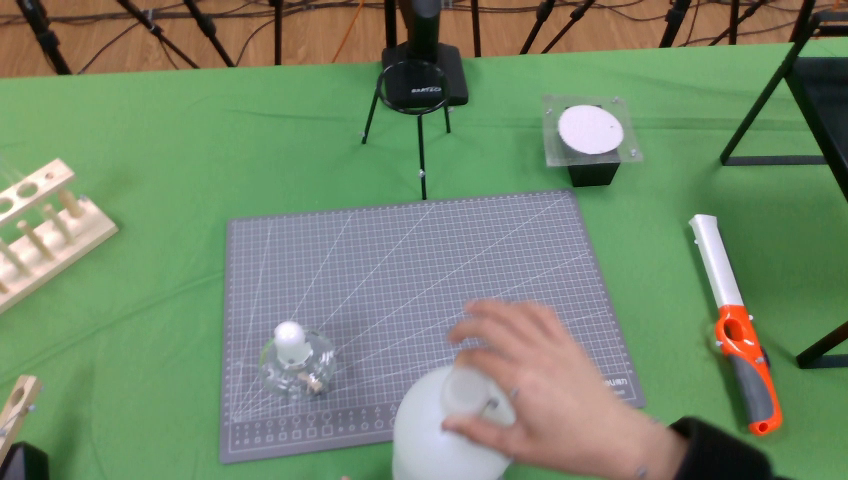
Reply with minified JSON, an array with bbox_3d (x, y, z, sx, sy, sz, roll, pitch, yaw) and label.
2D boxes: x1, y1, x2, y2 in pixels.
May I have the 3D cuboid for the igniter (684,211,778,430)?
[{"bbox_3d":[0.357,0.084,0.710,0.057,0.025,0.274,5,58,-12],"label":"igniter"}]

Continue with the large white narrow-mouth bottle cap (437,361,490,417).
[{"bbox_3d":[0.029,0.108,0.440,0.038,0.024,0.037,2,54,-2],"label":"large white narrow-mouth bottle cap"}]

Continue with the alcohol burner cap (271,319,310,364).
[{"bbox_3d":[-0.130,0.095,0.579,0.034,0.048,0.033,0,53,0],"label":"alcohol burner cap"}]

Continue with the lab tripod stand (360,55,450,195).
[{"bbox_3d":[-0.015,-0.152,0.773,0.148,0.132,0.147,2,59,-4],"label":"lab tripod stand"}]

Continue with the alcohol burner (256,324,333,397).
[{"bbox_3d":[-0.131,0.114,0.610,0.078,0.120,0.077,3,56,-4],"label":"alcohol burner"}]

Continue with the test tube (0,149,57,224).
[{"bbox_3d":[-0.443,-0.064,0.662,0.017,0.151,0.017,0,57,1],"label":"test tube"}]

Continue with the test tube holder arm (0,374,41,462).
[{"bbox_3d":[-0.392,0.207,0.541,0.013,0.015,0.177,6,59,6],"label":"test tube holder arm"}]

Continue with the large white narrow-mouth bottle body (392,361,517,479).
[{"bbox_3d":[0.024,0.160,0.509,0.102,0.196,0.101,2,54,-2],"label":"large white narrow-mouth bottle body"}]

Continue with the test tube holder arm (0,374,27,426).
[{"bbox_3d":[-0.392,0.168,0.565,0.010,0.015,0.087,4,59,5],"label":"test tube holder arm"}]

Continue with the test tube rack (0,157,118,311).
[{"bbox_3d":[-0.478,0.019,0.667,0.066,0.086,0.242,38,64,19],"label":"test tube rack"}]

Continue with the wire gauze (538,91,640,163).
[{"bbox_3d":[0.214,-0.151,0.801,0.121,0.011,0.124,1,58,-2],"label":"wire gauze"}]
